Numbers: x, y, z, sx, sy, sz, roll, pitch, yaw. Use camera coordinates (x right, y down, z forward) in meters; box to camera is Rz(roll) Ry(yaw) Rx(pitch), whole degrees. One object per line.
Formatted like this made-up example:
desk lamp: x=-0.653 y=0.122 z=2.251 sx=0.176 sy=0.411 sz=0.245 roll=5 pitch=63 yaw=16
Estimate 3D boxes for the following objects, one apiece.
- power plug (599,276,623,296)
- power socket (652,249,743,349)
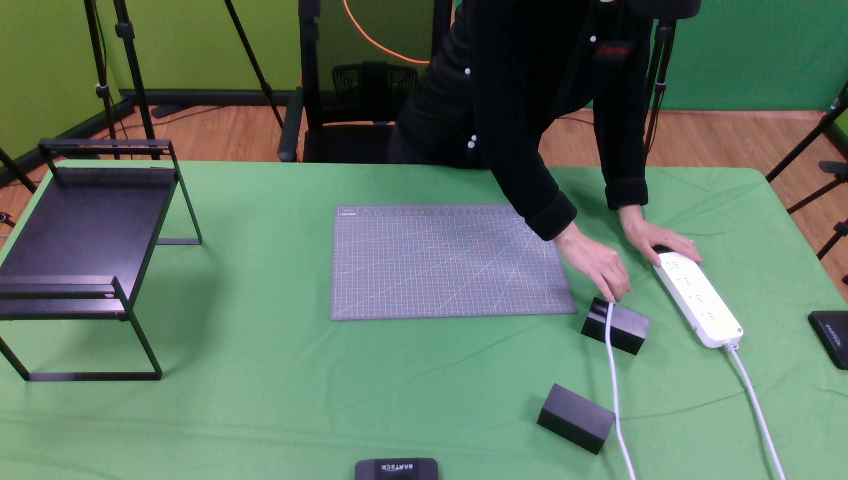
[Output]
power plug: x=0.334 y=0.088 z=1.109 sx=0.073 sy=0.053 sz=0.035 roll=-14 pitch=64 yaw=-42
power socket: x=0.503 y=0.104 z=1.125 sx=0.072 sy=0.033 sz=0.225 roll=-8 pitch=48 yaw=-11
